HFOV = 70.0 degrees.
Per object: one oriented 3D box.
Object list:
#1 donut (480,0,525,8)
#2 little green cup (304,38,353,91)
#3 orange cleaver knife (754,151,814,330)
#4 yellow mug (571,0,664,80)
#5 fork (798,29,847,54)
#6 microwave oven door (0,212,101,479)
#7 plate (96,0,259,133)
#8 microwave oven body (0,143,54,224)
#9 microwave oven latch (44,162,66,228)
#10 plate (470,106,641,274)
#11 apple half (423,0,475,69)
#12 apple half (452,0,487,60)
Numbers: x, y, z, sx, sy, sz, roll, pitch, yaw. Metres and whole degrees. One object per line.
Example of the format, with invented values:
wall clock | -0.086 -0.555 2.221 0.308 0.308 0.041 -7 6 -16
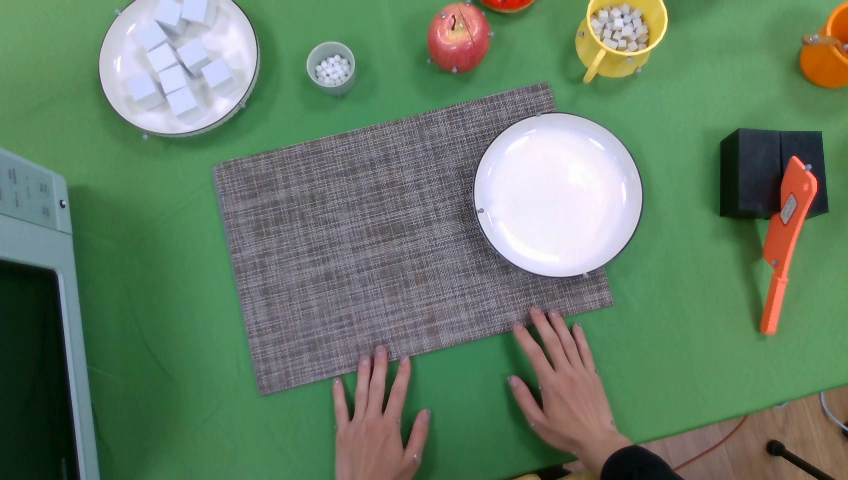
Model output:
donut | 0.104 -0.353 0.796 0.099 0.048 0.099 0 84 2
little green cup | -0.121 -0.224 0.784 0.061 0.039 0.061 0 82 1
orange cleaver knife | 0.418 0.003 0.719 0.012 0.077 0.212 5 112 5
yellow mug | 0.236 -0.259 0.768 0.100 0.064 0.130 33 85 5
fork | 0.479 -0.238 0.718 0.208 0.018 0.028 -13 79 -45
microwave oven door | -0.426 0.143 0.615 0.039 0.244 0.354 -12 81 0
plate | -0.315 -0.236 0.789 0.208 0.039 0.207 0 82 1
microwave oven body | -0.577 0.132 0.625 0.326 0.261 0.440 -11 82 -1
microwave oven latch | -0.465 -0.054 0.747 0.030 0.029 0.079 -10 82 -1
plate | 0.159 -0.060 0.751 0.209 0.038 0.208 0 82 1
apple half | 0.027 -0.254 0.769 0.053 0.075 0.080 -23 85 2
apple half | 0.063 -0.270 0.769 0.033 0.081 0.081 -23 81 3
